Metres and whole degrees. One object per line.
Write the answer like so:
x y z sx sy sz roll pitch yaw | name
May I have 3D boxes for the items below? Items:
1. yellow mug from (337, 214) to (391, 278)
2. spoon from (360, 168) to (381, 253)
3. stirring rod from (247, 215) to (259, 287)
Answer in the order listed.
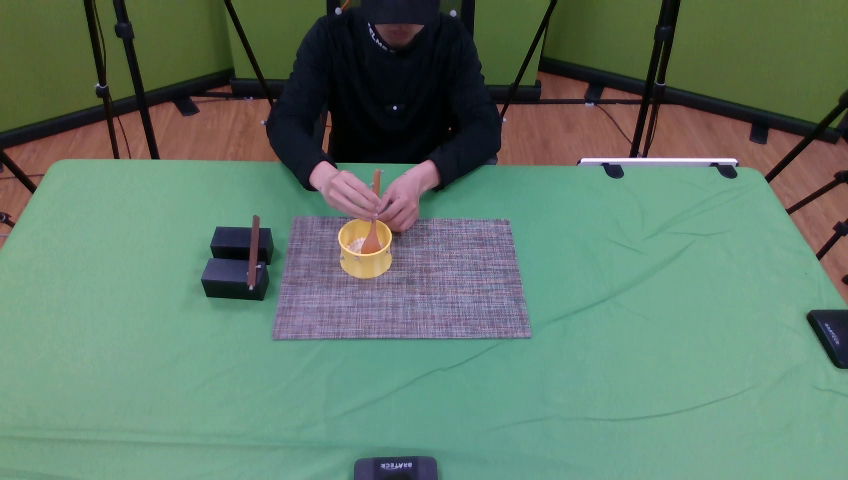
-0.110 0.003 1.152 0.100 0.064 0.130 7 45 2 | yellow mug
-0.092 -0.041 1.100 0.041 0.194 0.021 10 26 9 | spoon
-0.309 0.016 1.097 0.014 0.006 0.175 24 36 -31 | stirring rod
